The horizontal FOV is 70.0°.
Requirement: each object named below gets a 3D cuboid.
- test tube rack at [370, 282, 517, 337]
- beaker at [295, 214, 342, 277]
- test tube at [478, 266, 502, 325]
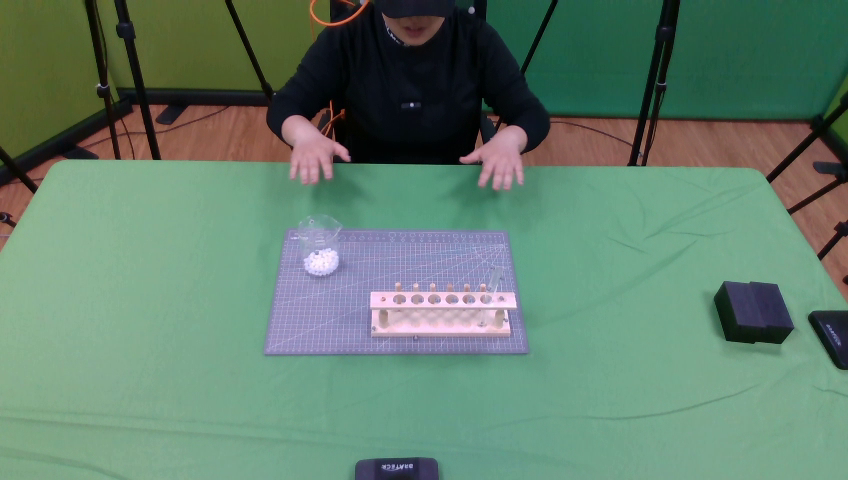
[{"bbox_3d":[0.030,0.116,1.041,0.242,0.085,0.066,1,46,-4],"label":"test tube rack"},{"bbox_3d":[-0.191,0.013,1.114,0.084,0.101,0.073,-12,49,-17],"label":"beaker"},{"bbox_3d":[0.107,0.095,0.998,0.017,0.151,0.017,4,48,-4],"label":"test tube"}]
